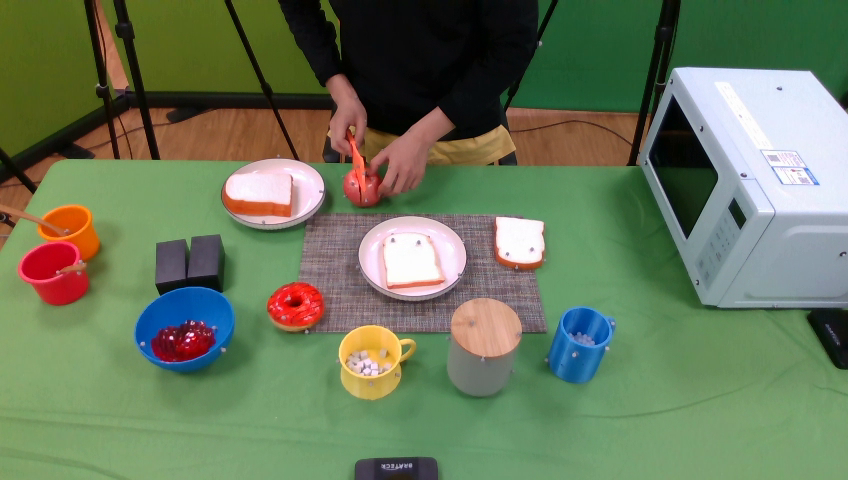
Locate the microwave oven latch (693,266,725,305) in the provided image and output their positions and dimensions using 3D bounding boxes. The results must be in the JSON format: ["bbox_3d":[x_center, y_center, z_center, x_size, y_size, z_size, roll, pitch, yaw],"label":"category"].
[{"bbox_3d":[0.523,0.082,1.115,0.030,0.029,0.078,3,46,0],"label":"microwave oven latch"}]

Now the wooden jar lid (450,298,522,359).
[{"bbox_3d":[0.093,0.135,0.914,0.108,0.021,0.107,2,48,-3],"label":"wooden jar lid"}]

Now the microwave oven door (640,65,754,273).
[{"bbox_3d":[0.523,-0.147,1.193,0.039,0.245,0.353,0,47,-3],"label":"microwave oven door"}]

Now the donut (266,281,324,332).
[{"bbox_3d":[-0.222,0.115,1.049,0.099,0.048,0.098,2,45,-2],"label":"donut"}]

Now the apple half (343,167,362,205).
[{"bbox_3d":[-0.150,-0.107,1.250,0.033,0.081,0.080,-9,48,-10],"label":"apple half"}]

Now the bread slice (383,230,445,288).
[{"bbox_3d":[-0.028,0.035,1.144,0.107,0.018,0.133,-8,48,-12],"label":"bread slice"}]

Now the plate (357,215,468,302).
[{"bbox_3d":[-0.022,0.037,1.141,0.208,0.039,0.206,2,46,-2],"label":"plate"}]

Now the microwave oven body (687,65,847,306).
[{"bbox_3d":[0.669,-0.111,1.176,0.326,0.261,0.439,0,46,-3],"label":"microwave oven body"}]

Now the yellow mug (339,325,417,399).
[{"bbox_3d":[-0.072,0.190,0.978,0.131,0.064,0.099,-17,50,-20],"label":"yellow mug"}]

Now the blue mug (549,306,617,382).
[{"bbox_3d":[0.269,0.166,0.998,0.116,0.106,0.082,-19,51,-21],"label":"blue mug"}]

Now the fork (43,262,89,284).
[{"bbox_3d":[-0.599,0.053,1.013,0.207,0.019,0.028,-14,30,45],"label":"fork"}]

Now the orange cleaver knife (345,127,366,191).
[{"bbox_3d":[-0.140,-0.170,1.246,0.012,0.077,0.210,-8,33,-12],"label":"orange cleaver knife"}]

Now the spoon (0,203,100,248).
[{"bbox_3d":[-0.683,-0.031,1.088,0.195,0.021,0.041,33,33,-38],"label":"spoon"}]

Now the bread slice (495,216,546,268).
[{"bbox_3d":[0.194,0.002,1.204,0.105,0.019,0.131,6,46,2],"label":"bread slice"}]

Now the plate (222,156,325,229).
[{"bbox_3d":[-0.308,-0.095,1.251,0.209,0.038,0.208,2,47,-2],"label":"plate"}]

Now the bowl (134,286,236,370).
[{"bbox_3d":[-0.377,0.155,0.981,0.151,0.077,0.150,2,46,-2],"label":"bowl"}]

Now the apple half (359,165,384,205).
[{"bbox_3d":[-0.110,-0.113,1.259,0.053,0.075,0.080,-5,43,-15],"label":"apple half"}]

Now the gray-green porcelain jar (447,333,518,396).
[{"bbox_3d":[0.091,0.178,0.960,0.106,0.127,0.105,2,46,-2],"label":"gray-green porcelain jar"}]
